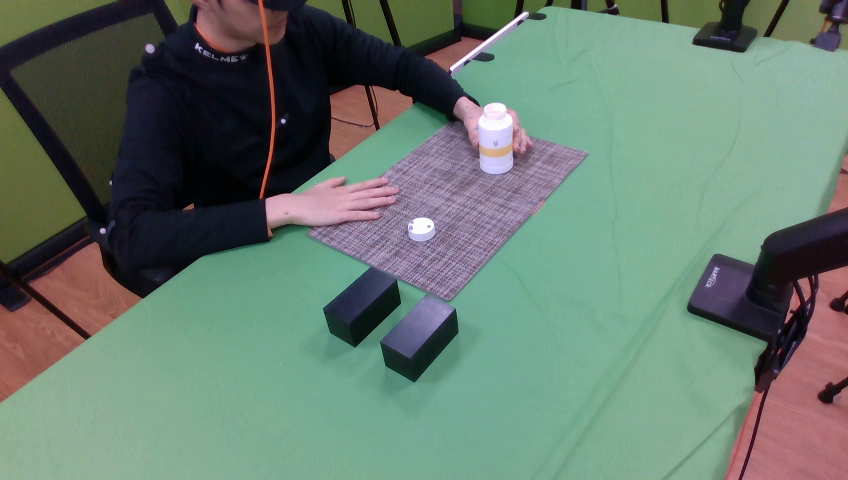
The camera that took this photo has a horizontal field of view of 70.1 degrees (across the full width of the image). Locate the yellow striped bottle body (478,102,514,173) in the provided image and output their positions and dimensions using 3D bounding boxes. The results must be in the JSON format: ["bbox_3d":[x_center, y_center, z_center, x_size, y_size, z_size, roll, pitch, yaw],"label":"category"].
[{"bbox_3d":[0.129,-0.186,1.083,0.063,0.121,0.062,-4,41,4],"label":"yellow striped bottle body"}]

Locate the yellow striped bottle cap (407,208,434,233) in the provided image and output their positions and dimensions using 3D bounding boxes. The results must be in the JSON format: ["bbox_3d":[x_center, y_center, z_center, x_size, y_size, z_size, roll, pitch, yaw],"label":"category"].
[{"bbox_3d":[-0.006,-0.032,0.972,0.044,0.019,0.044,2,44,-2],"label":"yellow striped bottle cap"}]
